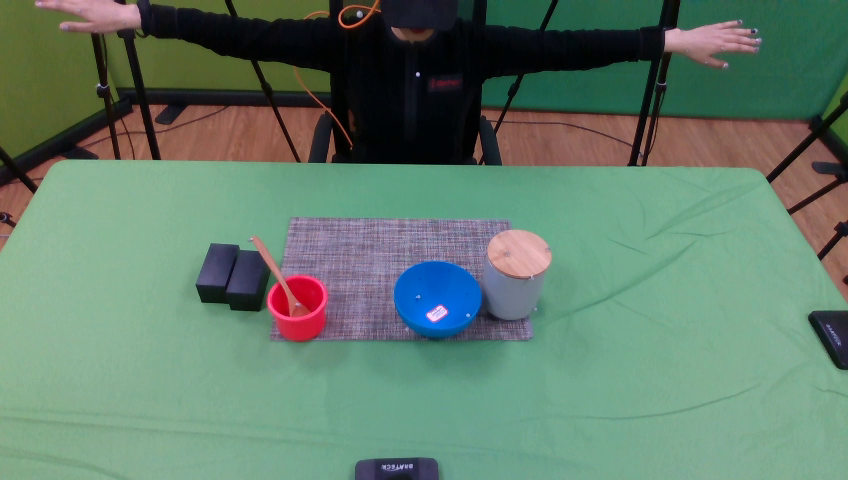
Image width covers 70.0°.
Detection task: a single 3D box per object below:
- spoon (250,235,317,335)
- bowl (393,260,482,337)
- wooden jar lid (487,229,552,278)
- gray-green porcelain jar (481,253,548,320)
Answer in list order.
[{"bbox_3d":[-0.237,0.075,1.019,0.041,0.021,0.194,-32,100,-32],"label":"spoon"},{"bbox_3d":[0.021,0.115,1.045,0.151,0.077,0.150,2,46,-2],"label":"bowl"},{"bbox_3d":[0.160,0.025,1.018,0.108,0.021,0.107,2,47,-1],"label":"wooden jar lid"},{"bbox_3d":[0.156,0.070,1.064,0.106,0.127,0.105,2,46,-2],"label":"gray-green porcelain jar"}]
